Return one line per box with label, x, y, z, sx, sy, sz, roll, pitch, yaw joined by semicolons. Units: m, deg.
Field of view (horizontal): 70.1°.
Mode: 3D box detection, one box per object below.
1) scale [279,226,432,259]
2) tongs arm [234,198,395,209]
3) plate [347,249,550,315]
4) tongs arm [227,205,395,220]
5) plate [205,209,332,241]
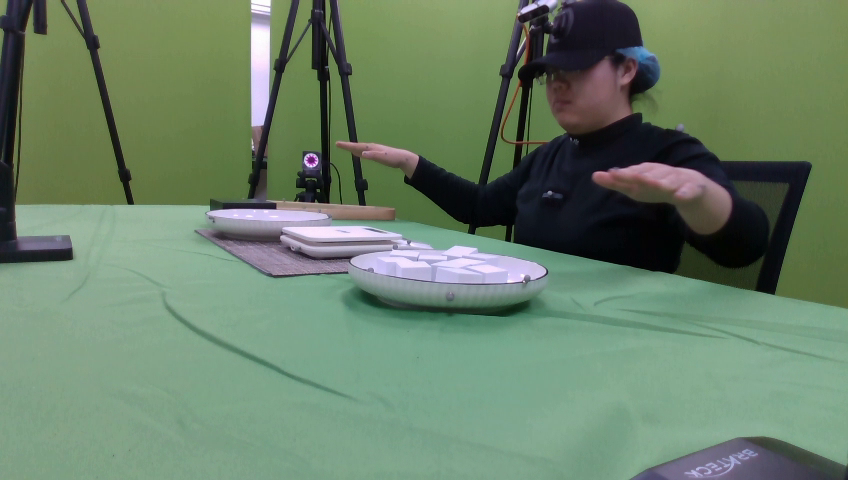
scale;-0.100;0.001;0.899;0.202;0.031;0.148;-1;8;-31
tongs arm;-0.263;-0.076;1.460;0.386;0.026;0.050;3;7;-8
plate;0.025;0.042;0.627;0.209;0.038;0.209;2;7;0
tongs arm;-0.247;-0.063;1.381;0.389;0.028;0.028;0;5;-21
plate;-0.262;-0.026;1.030;0.208;0.039;0.207;3;7;0
